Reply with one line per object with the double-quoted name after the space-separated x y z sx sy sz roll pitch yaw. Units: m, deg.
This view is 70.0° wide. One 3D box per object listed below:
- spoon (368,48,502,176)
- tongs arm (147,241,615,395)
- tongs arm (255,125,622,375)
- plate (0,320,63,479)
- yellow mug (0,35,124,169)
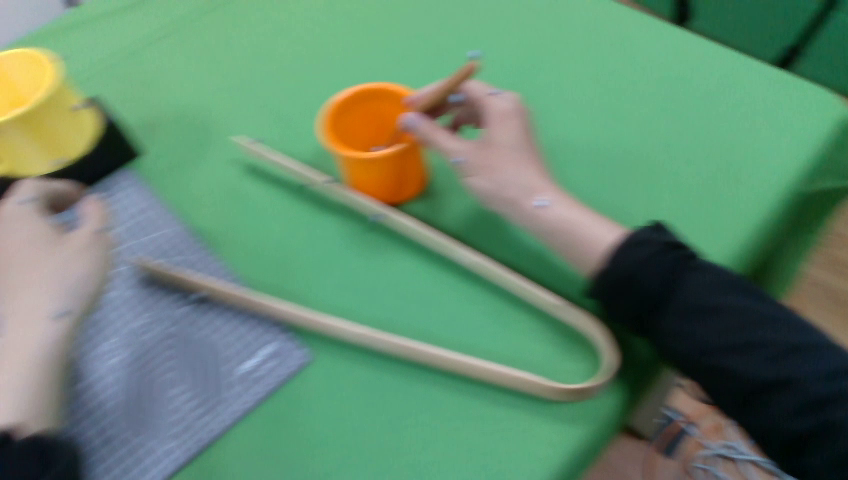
0.001 -0.098 0.484 0.022 0.193 0.041 27 62 -17 "spoon"
-0.052 0.054 0.467 0.386 0.028 0.028 15 54 16 "tongs arm"
-0.012 -0.006 0.503 0.382 0.027 0.050 27 62 22 "tongs arm"
-0.356 0.154 0.430 0.207 0.039 0.205 -3 55 5 "plate"
-0.346 -0.116 0.541 0.099 0.064 0.130 26 63 23 "yellow mug"
